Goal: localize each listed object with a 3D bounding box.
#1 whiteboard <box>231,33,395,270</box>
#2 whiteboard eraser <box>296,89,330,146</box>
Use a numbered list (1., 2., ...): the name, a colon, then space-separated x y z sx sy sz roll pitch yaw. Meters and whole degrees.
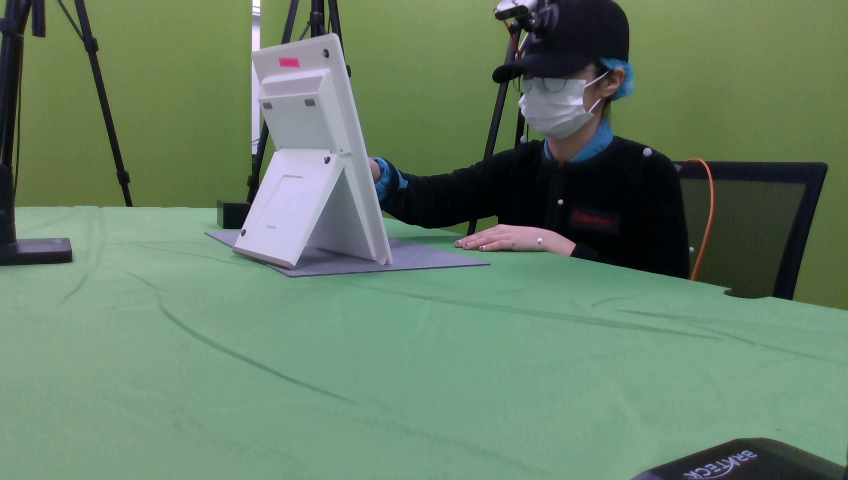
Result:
1. whiteboard: -0.193 -0.094 0.805 0.144 0.305 0.216 -28 25 -35
2. whiteboard eraser: -0.156 -0.170 0.846 0.019 0.041 0.101 -34 -11 -34
